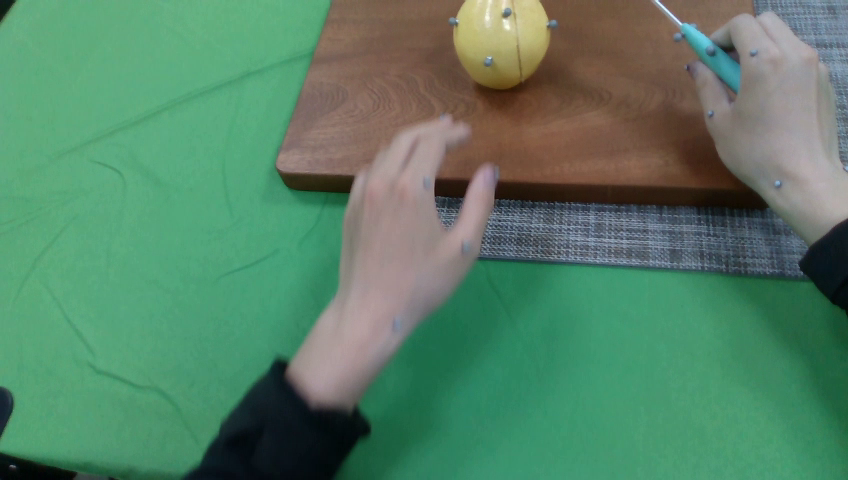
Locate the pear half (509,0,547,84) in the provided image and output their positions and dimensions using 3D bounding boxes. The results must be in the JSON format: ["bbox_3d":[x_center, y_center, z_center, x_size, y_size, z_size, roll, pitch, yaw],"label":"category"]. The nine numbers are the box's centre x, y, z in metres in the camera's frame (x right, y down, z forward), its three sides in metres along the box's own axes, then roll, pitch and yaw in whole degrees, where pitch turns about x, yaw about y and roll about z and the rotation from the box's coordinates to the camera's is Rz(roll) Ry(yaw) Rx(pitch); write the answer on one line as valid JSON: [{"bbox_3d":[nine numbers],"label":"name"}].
[{"bbox_3d":[0.085,-0.173,0.499,0.031,0.089,0.069,-10,54,3],"label":"pear half"}]

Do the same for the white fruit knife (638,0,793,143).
[{"bbox_3d":[0.195,-0.149,0.452,0.016,0.027,0.206,-45,78,20],"label":"white fruit knife"}]

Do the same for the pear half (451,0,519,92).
[{"bbox_3d":[0.048,-0.174,0.494,0.056,0.111,0.075,-11,53,3],"label":"pear half"}]
